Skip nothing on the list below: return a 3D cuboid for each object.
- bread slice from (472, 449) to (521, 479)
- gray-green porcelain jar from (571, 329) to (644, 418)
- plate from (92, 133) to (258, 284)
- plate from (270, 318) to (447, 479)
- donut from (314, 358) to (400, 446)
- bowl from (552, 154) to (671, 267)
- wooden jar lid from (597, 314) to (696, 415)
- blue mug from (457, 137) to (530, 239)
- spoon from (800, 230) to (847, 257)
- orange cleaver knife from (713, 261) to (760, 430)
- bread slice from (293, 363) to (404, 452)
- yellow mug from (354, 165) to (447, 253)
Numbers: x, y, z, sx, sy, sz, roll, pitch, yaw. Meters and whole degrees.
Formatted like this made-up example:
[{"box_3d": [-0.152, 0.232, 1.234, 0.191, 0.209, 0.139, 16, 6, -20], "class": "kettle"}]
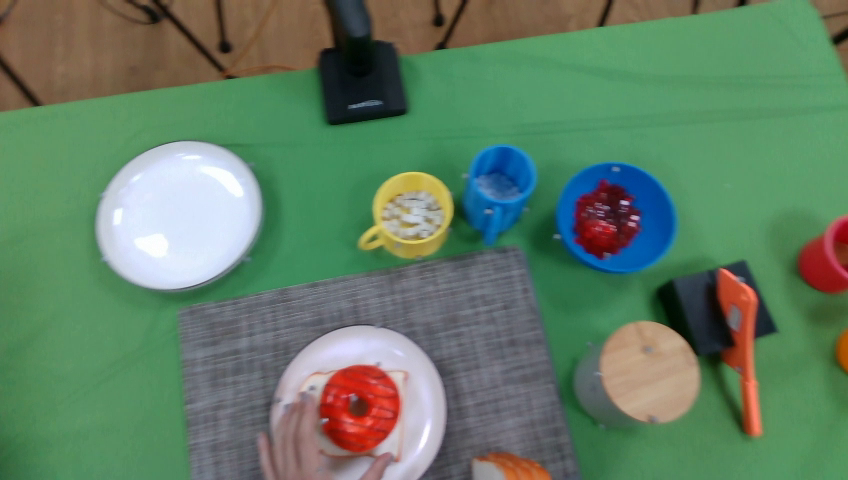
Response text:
[{"box_3d": [0.080, 0.281, 0.661, 0.018, 0.135, 0.106, -2, 70, -12], "class": "bread slice"}, {"box_3d": [0.236, 0.155, 0.714, 0.106, 0.127, 0.105, 1, 72, -3], "class": "gray-green porcelain jar"}, {"box_3d": [-0.321, -0.040, 0.796, 0.208, 0.039, 0.206, 1, 72, -3], "class": "plate"}, {"box_3d": [-0.077, 0.198, 0.727, 0.209, 0.038, 0.208, 1, 72, -3], "class": "plate"}, {"box_3d": [-0.077, 0.186, 0.701, 0.099, 0.048, 0.098, 2, 73, -7], "class": "donut"}, {"box_3d": [0.236, -0.028, 0.799, 0.151, 0.077, 0.150, 1, 72, -2], "class": "bowl"}, {"box_3d": [0.238, 0.134, 0.655, 0.108, 0.021, 0.107, 2, 73, -5], "class": "wooden jar lid"}, {"box_3d": [0.086, -0.058, 0.787, 0.082, 0.106, 0.116, 9, 72, 1], "class": "blue mug"}, {"box_3d": [0.586, 0.013, 0.767, 0.041, 0.192, 0.022, -55, 127, -21], "class": "spoon"}, {"box_3d": [0.386, 0.131, 0.752, 0.012, 0.077, 0.212, -13, 103, -6], "class": "orange cleaver knife"}, {"box_3d": [-0.091, 0.200, 0.730, 0.132, 0.019, 0.104, 3, 71, -6], "class": "bread slice"}, {"box_3d": [-0.034, -0.031, 0.792, 0.131, 0.064, 0.099, -32, 75, -11], "class": "yellow mug"}]
